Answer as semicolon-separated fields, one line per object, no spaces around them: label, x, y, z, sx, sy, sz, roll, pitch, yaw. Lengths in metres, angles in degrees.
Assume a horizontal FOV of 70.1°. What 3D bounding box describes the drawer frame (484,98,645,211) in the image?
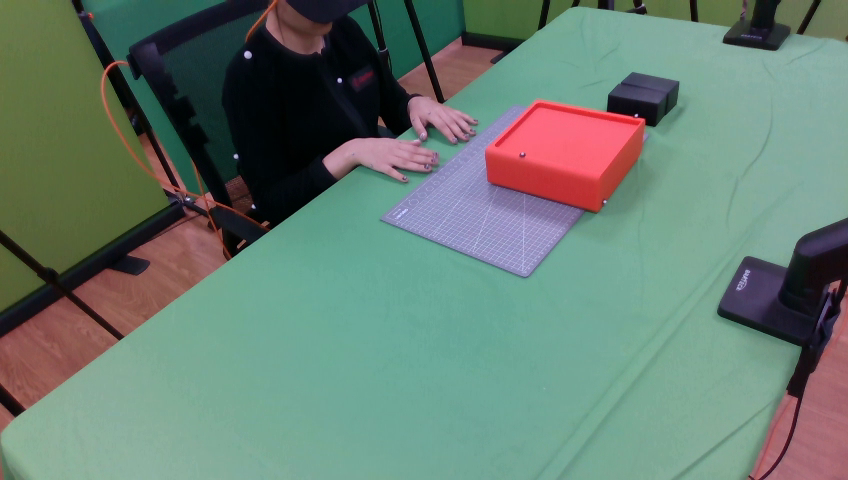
drawer frame;0.248;-0.158;1.070;0.212;0.083;0.202;20;47;29

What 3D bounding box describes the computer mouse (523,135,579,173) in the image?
computer mouse;0.232;-0.163;1.100;0.062;0.041;0.117;19;41;34

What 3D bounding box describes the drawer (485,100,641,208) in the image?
drawer;0.246;-0.158;1.072;0.210;0.073;0.195;20;48;30
